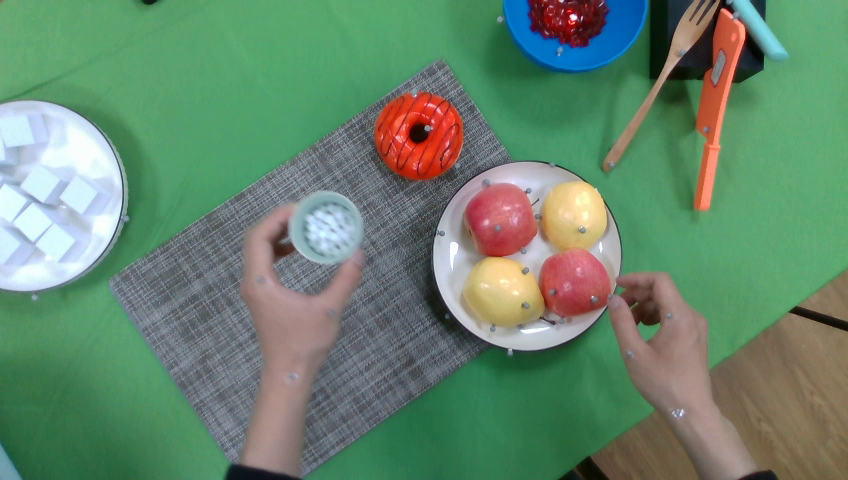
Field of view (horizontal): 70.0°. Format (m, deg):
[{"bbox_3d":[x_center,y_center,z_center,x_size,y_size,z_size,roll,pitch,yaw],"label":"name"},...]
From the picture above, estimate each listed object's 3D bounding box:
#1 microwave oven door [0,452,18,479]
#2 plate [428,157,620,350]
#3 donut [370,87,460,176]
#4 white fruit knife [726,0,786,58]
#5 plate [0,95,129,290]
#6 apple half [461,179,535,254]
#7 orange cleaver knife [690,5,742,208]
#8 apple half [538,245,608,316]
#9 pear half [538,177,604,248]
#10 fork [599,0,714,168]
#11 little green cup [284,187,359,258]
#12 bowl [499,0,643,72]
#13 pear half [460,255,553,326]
[{"bbox_3d":[-0.390,0.343,0.528,0.039,0.244,0.355,-32,89,-3],"label":"microwave oven door"},{"bbox_3d":[0.108,0.014,0.667,0.209,0.038,0.209,0,88,-2],"label":"plate"},{"bbox_3d":[-0.010,-0.118,0.664,0.099,0.048,0.099,0,91,0],"label":"donut"},{"bbox_3d":[0.320,-0.279,0.646,0.027,0.016,0.207,-32,87,-31],"label":"white fruit knife"},{"bbox_3d":[-0.421,-0.050,0.657,0.208,0.039,0.207,0,88,-2],"label":"plate"},{"bbox_3d":[0.080,-0.024,0.650,0.075,0.053,0.081,-17,93,-1],"label":"apple half"},{"bbox_3d":[0.309,-0.141,0.659,0.012,0.076,0.212,2,114,3],"label":"orange cleaver knife"},{"bbox_3d":[0.155,0.046,0.650,0.081,0.033,0.081,3,98,22],"label":"apple half"},{"bbox_3d":[0.157,-0.023,0.655,0.070,0.031,0.088,0,102,23],"label":"pear half"},{"bbox_3d":[0.246,-0.169,0.655,0.028,0.018,0.208,24,108,-9],"label":"fork"},{"bbox_3d":[-0.086,-0.013,0.527,0.061,0.039,0.061,0,84,4],"label":"little green cup"},{"bbox_3d":[0.151,-0.249,0.659,0.151,0.077,0.151,0,89,-2],"label":"bowl"},{"bbox_3d":[0.097,0.062,0.652,0.110,0.056,0.076,28,92,-6],"label":"pear half"}]
